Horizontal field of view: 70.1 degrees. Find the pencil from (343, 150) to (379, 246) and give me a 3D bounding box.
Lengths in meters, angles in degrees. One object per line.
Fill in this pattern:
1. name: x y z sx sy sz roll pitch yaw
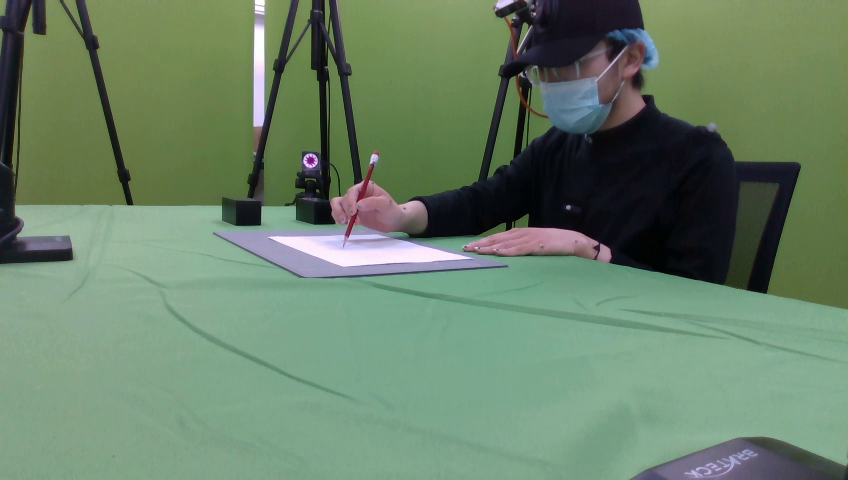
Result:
1. pencil: -0.103 -0.071 0.979 0.012 0.194 0.012 11 -31 7
